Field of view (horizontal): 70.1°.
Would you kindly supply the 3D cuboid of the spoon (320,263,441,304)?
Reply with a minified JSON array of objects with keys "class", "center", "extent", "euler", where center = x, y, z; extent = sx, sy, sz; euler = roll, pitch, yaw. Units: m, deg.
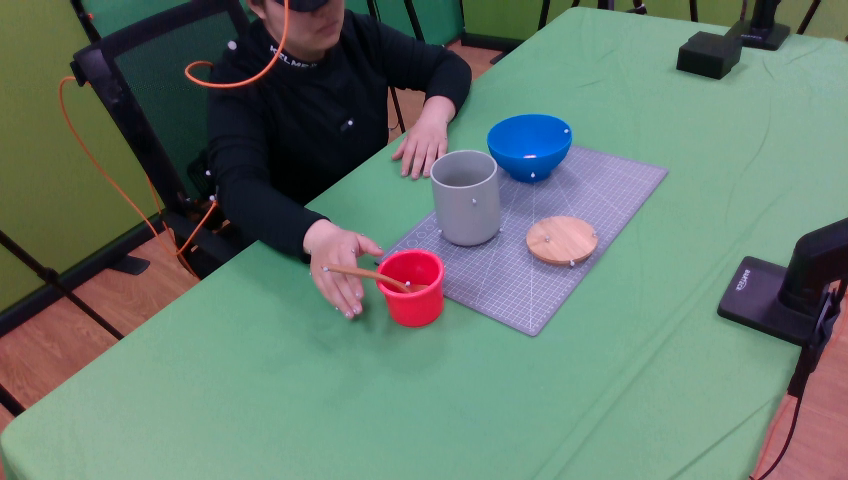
[{"class":"spoon","center":[-0.056,0.056,0.833],"extent":[0.195,0.021,0.041],"euler":[22,27,-35]}]

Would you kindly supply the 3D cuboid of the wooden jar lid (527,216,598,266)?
[{"class":"wooden jar lid","center":[0.214,0.003,0.937],"extent":[0.108,0.021,0.108],"euler":[-4,40,4]}]

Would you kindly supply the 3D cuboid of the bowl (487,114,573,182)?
[{"class":"bowl","center":[0.190,-0.156,1.085],"extent":[0.151,0.077,0.150],"euler":[-5,40,5]}]

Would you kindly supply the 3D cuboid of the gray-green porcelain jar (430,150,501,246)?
[{"class":"gray-green porcelain jar","center":[0.069,-0.062,0.959],"extent":[0.106,0.127,0.105],"euler":[-5,40,5]}]
